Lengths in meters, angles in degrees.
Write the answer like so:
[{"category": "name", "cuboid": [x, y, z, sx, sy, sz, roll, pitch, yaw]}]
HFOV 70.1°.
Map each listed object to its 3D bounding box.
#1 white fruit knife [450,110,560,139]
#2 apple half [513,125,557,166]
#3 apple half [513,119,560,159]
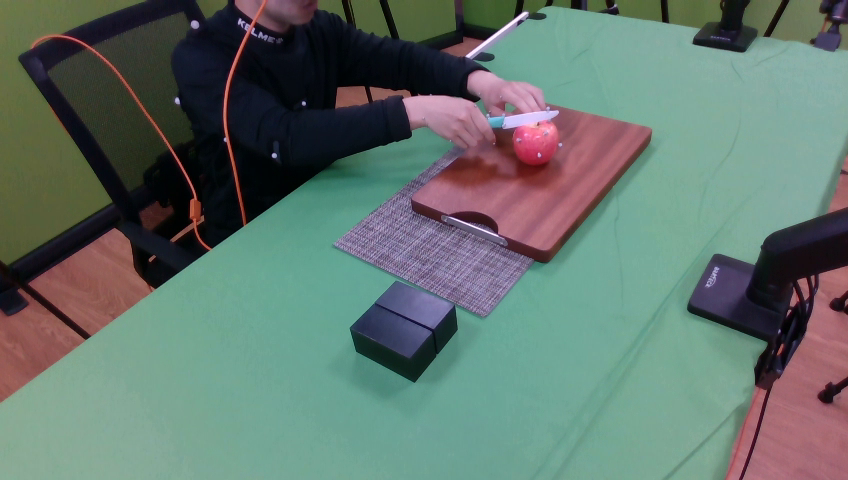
[{"category": "white fruit knife", "cuboid": [0.135, -0.203, 1.047, 0.206, 0.027, 0.016, -5, 38, 28]}, {"category": "apple half", "cuboid": [0.187, -0.156, 1.040, 0.081, 0.081, 0.033, 12, 40, 21]}, {"category": "apple half", "cuboid": [0.202, -0.179, 1.067, 0.080, 0.075, 0.053, 8, 39, 24]}]
